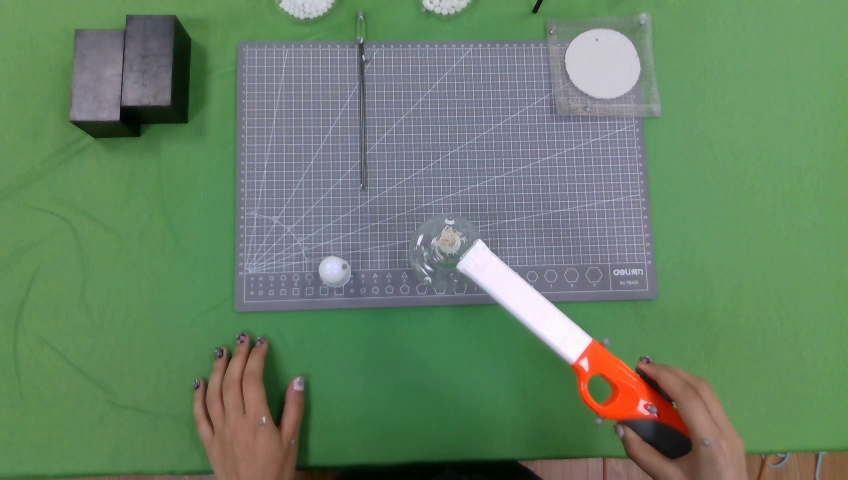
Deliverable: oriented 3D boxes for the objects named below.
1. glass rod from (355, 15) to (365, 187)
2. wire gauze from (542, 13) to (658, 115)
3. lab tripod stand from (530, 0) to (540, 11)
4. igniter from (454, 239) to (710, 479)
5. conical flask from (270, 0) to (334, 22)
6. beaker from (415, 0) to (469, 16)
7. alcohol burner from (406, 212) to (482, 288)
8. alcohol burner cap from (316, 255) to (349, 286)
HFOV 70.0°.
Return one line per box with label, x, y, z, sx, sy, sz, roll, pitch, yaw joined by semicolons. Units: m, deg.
glass rod;-0.070;-0.155;0.668;0.008;0.008;0.199;-2;81;-3
wire gauze;0.201;-0.200;0.691;0.125;0.011;0.121;-2;82;-3
lab tripod stand;0.181;-0.322;0.647;0.148;0.131;0.148;0;83;-3
igniter;0.137;0.101;0.513;0.277;0.025;0.057;41;82;-2
conical flask;-0.135;-0.290;0.632;0.075;0.122;0.075;0;80;-2
beaker;0.022;-0.299;0.653;0.074;0.100;0.083;1;80;-3
alcohol burner;0.021;0.008;0.596;0.078;0.119;0.077;0;83;-2
alcohol burner cap;-0.096;0.030;0.623;0.034;0.048;0.033;0;81;-3
